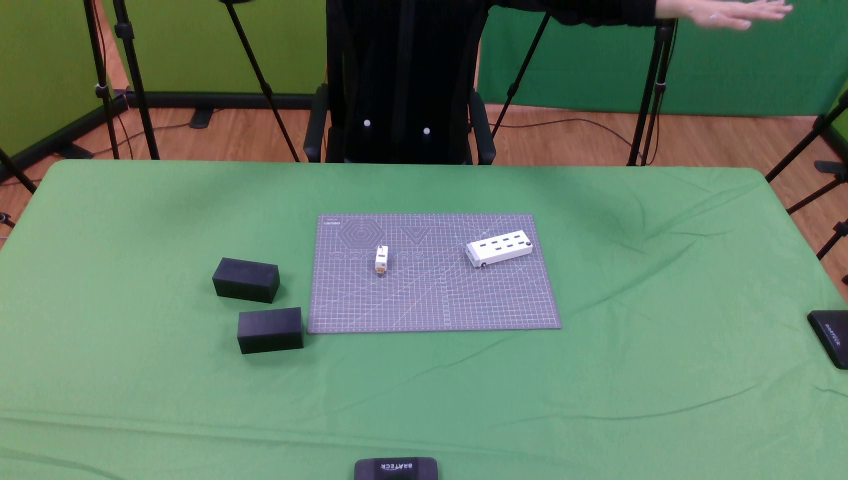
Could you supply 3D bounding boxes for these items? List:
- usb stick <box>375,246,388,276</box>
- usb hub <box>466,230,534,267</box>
[{"bbox_3d":[-0.081,0.040,1.146,0.021,0.027,0.059,6,48,-1],"label":"usb stick"},{"bbox_3d":[0.148,0.017,1.185,0.125,0.025,0.049,-14,49,-16],"label":"usb hub"}]
